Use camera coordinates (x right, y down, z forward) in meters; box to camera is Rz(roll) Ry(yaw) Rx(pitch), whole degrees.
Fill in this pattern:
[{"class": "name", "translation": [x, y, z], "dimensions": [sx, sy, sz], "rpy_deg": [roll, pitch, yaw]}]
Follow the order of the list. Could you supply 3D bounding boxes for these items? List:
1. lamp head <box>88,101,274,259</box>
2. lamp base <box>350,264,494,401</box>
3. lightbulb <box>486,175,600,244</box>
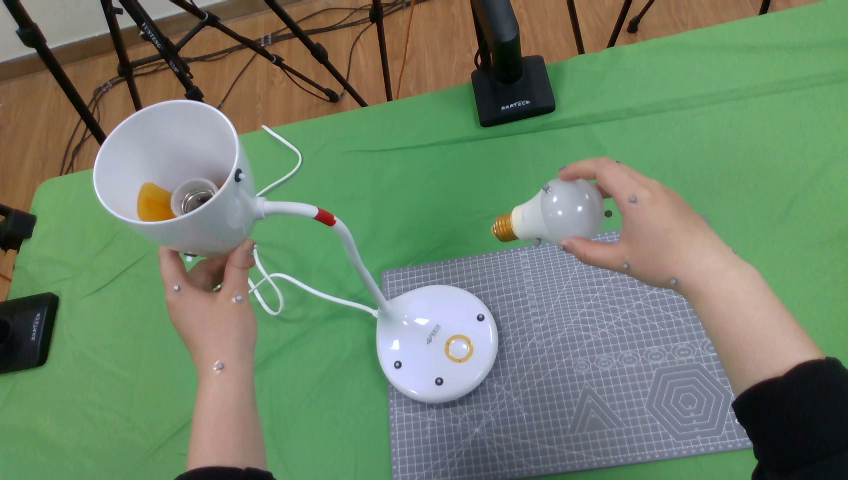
[{"class": "lamp head", "translation": [-0.189, -0.036, 0.505], "dimensions": [0.112, 0.124, 0.111], "rpy_deg": [-4, 65, 8]}, {"class": "lamp base", "translation": [-0.016, 0.092, 0.729], "dimensions": [0.178, 0.182, 0.160], "rpy_deg": [13, 66, 22]}, {"class": "lightbulb", "translation": [0.101, -0.021, 0.533], "dimensions": [0.107, 0.060, 0.059], "rpy_deg": [-16, 56, 37]}]
